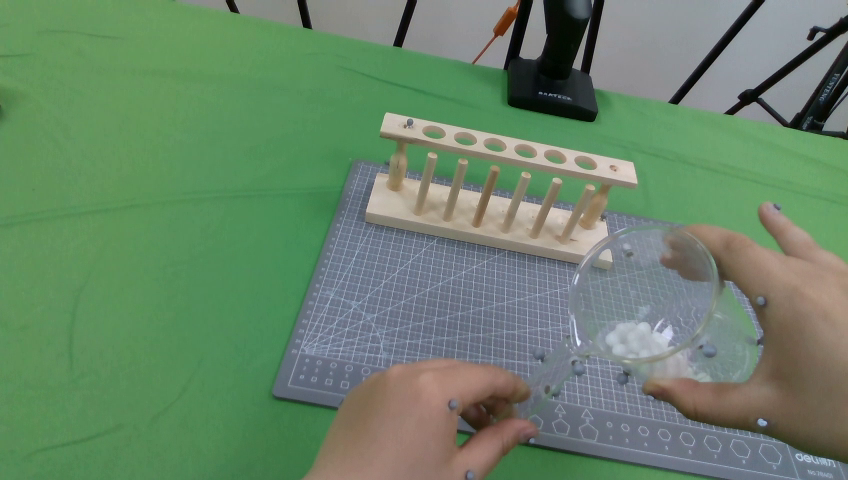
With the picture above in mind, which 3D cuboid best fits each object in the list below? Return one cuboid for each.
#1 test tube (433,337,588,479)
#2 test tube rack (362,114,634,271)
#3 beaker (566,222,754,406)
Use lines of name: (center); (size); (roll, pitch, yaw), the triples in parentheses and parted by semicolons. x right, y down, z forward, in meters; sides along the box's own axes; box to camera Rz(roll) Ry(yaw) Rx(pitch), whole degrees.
test tube: (0.045, 0.108, 0.352); (0.017, 0.151, 0.017); (23, 34, -16)
test tube rack: (0.069, -0.045, 0.583); (0.242, 0.086, 0.066); (11, 43, -2)
beaker: (0.132, 0.048, 0.334); (0.101, 0.084, 0.073); (35, 15, -43)
